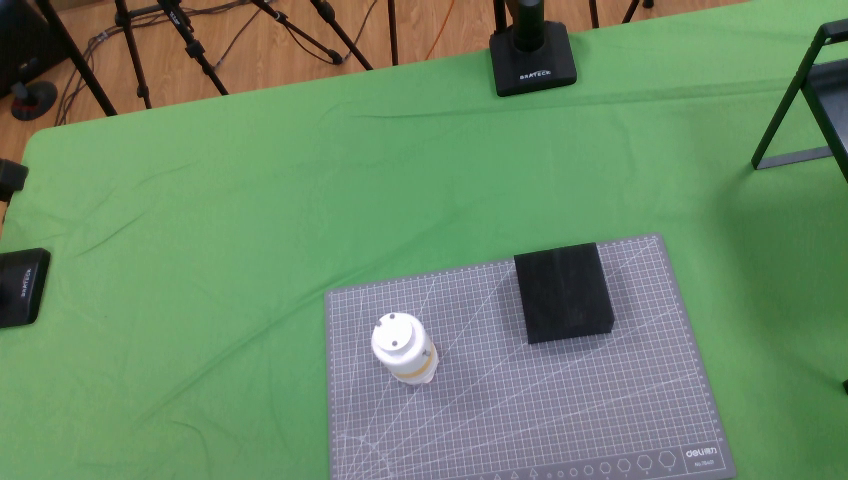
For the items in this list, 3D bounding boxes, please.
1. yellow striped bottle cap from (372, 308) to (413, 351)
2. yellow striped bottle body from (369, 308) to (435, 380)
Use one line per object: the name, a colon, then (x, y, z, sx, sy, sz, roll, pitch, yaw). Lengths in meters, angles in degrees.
yellow striped bottle cap: (-0.035, 0.097, 0.663, 0.044, 0.019, 0.044, -5, 64, 11)
yellow striped bottle body: (-0.026, 0.120, 0.709, 0.063, 0.121, 0.062, -4, 64, 9)
